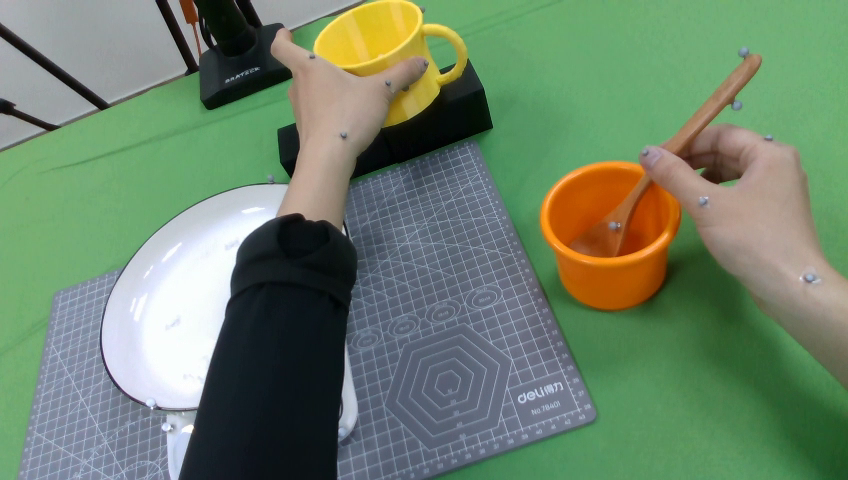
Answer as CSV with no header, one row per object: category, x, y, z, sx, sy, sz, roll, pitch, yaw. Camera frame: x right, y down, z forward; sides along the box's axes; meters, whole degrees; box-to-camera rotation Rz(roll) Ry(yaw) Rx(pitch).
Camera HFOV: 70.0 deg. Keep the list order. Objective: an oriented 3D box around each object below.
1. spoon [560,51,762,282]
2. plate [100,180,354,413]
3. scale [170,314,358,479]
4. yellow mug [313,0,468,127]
spoon,0.156,-0.043,0.414,0.022,0.194,0.041,10,39,-30
plate,-0.152,0.041,0.483,0.209,0.038,0.207,-8,52,11
scale,-0.137,0.082,0.490,0.148,0.032,0.198,-20,51,4
yellow mug,-0.026,-0.160,0.537,0.130,0.064,0.099,-4,51,17
